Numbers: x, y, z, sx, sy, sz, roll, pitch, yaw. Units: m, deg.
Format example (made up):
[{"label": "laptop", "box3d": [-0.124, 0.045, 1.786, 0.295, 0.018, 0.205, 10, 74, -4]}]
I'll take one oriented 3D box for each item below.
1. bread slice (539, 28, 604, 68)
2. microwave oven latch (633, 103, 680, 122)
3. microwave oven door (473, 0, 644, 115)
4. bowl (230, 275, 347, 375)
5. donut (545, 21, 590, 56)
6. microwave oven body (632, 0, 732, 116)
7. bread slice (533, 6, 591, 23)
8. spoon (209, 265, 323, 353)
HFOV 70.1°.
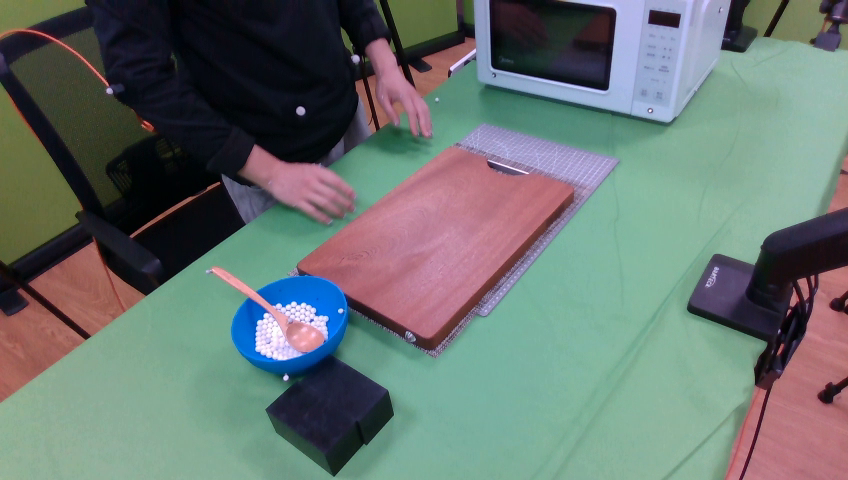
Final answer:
[{"label": "bread slice", "box3d": [0.331, -0.429, 1.340, 0.104, 0.019, 0.132, 21, 59, 41]}, {"label": "microwave oven latch", "box3d": [0.444, -0.249, 1.157, 0.078, 0.029, 0.030, 21, 49, 30]}, {"label": "microwave oven door", "box3d": [0.257, -0.396, 1.199, 0.353, 0.245, 0.039, 21, 48, 29]}, {"label": "bowl", "box3d": [-0.171, 0.125, 0.802, 0.151, 0.077, 0.150, -4, 40, 4]}, {"label": "donut", "box3d": [0.309, -0.434, 1.298, 0.099, 0.048, 0.098, -22, 34, 17]}, {"label": "microwave oven body", "box3d": [0.377, -0.462, 1.267, 0.438, 0.261, 0.327, 21, 48, 30]}, {"label": "bread slice", "box3d": [0.295, -0.478, 1.278, 0.106, 0.018, 0.134, 6, 29, 20]}, {"label": "spoon", "box3d": [-0.213, 0.087, 0.806, 0.193, 0.021, 0.042, 37, 57, 11]}]
